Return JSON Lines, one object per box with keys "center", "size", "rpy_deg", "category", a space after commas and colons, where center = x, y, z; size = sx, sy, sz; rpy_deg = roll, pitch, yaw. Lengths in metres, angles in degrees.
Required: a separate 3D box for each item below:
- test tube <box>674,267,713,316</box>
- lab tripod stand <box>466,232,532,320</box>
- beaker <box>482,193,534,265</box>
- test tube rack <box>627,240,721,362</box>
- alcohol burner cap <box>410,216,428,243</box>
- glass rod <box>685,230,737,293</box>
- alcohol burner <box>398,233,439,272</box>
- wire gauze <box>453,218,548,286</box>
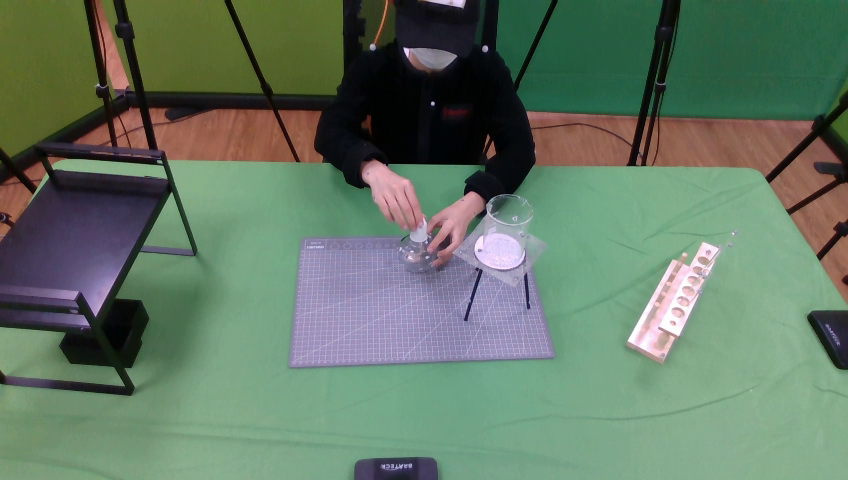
{"center": [0.445, 0.098, 1.017], "size": [0.017, 0.151, 0.017], "rpy_deg": [4, 48, -4], "category": "test tube"}
{"center": [0.125, 0.059, 1.065], "size": [0.148, 0.132, 0.147], "rpy_deg": [1, 45, 0], "category": "lab tripod stand"}
{"center": [0.135, -0.016, 0.979], "size": [0.073, 0.101, 0.084], "rpy_deg": [35, 52, 28], "category": "beaker"}
{"center": [0.452, 0.098, 1.087], "size": [0.066, 0.085, 0.242], "rpy_deg": [28, 51, 22], "category": "test tube rack"}
{"center": [-0.009, -0.022, 1.098], "size": [0.034, 0.048, 0.033], "rpy_deg": [3, 43, -2], "category": "alcohol burner cap"}
{"center": [0.495, 0.043, 1.051], "size": [0.008, 0.200, 0.008], "rpy_deg": [2, 55, -2], "category": "glass rod"}
{"center": [-0.009, 0.004, 1.124], "size": [0.078, 0.120, 0.077], "rpy_deg": [1, 48, -1], "category": "alcohol burner"}
{"center": [0.129, 0.014, 1.018], "size": [0.124, 0.011, 0.121], "rpy_deg": [26, 47, 25], "category": "wire gauze"}
